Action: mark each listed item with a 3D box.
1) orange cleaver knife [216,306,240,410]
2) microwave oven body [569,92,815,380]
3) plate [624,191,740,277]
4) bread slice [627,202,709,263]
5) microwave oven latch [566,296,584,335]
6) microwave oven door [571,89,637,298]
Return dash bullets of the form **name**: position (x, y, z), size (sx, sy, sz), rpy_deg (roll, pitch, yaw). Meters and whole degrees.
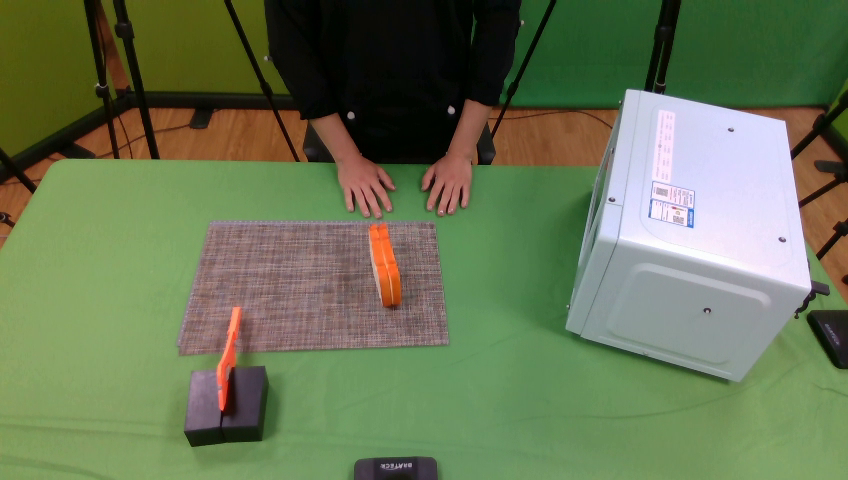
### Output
- **orange cleaver knife**: position (-0.307, 0.180, 0.957), size (0.012, 0.077, 0.210), rpy_deg (-2, 25, -8)
- **microwave oven body**: position (0.468, -0.021, 1.082), size (0.325, 0.261, 0.440), rpy_deg (15, 46, 11)
- **plate**: position (0.482, -0.007, 1.145), size (0.208, 0.039, 0.206), rpy_deg (0, 48, 0)
- **bread slice**: position (0.474, -0.022, 1.167), size (0.134, 0.018, 0.106), rpy_deg (-29, 55, -16)
- **microwave oven latch**: position (0.268, 0.126, 1.059), size (0.030, 0.029, 0.079), rpy_deg (16, 46, 12)
- **microwave oven door**: position (0.343, -0.091, 1.133), size (0.039, 0.245, 0.354), rpy_deg (15, 47, 10)
